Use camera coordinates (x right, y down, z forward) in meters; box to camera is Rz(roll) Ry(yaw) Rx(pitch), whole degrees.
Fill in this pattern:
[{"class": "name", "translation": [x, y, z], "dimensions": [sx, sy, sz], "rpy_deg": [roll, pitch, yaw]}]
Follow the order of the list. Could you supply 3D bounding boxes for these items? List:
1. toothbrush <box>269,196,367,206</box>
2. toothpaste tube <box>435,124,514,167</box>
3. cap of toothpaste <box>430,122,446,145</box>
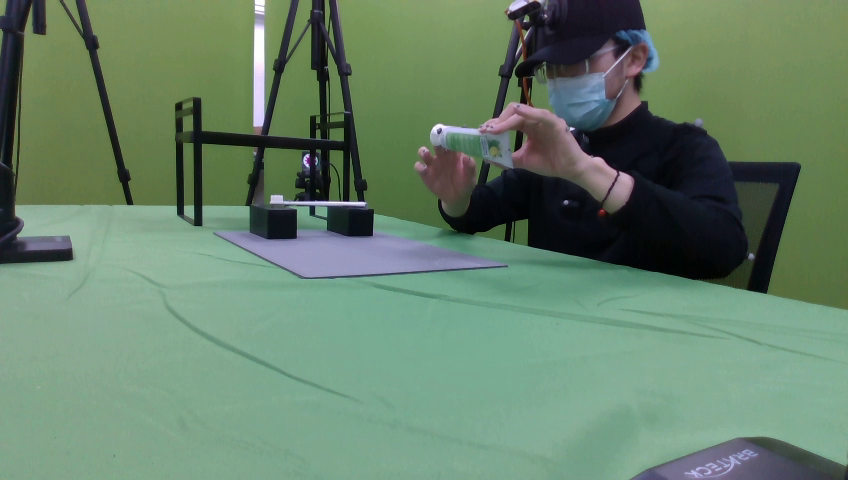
[{"class": "toothbrush", "translation": [-0.187, -0.069, 1.088], "dimensions": [0.183, 0.016, 0.014], "rpy_deg": [0, -3, -28]}, {"class": "toothpaste tube", "translation": [0.071, -0.145, 0.878], "dimensions": [0.034, 0.055, 0.164], "rpy_deg": [-34, 33, -23]}, {"class": "cap of toothpaste", "translation": [0.025, -0.166, 0.941], "dimensions": [0.037, 0.037, 0.011], "rpy_deg": [-5, 24, -43]}]
